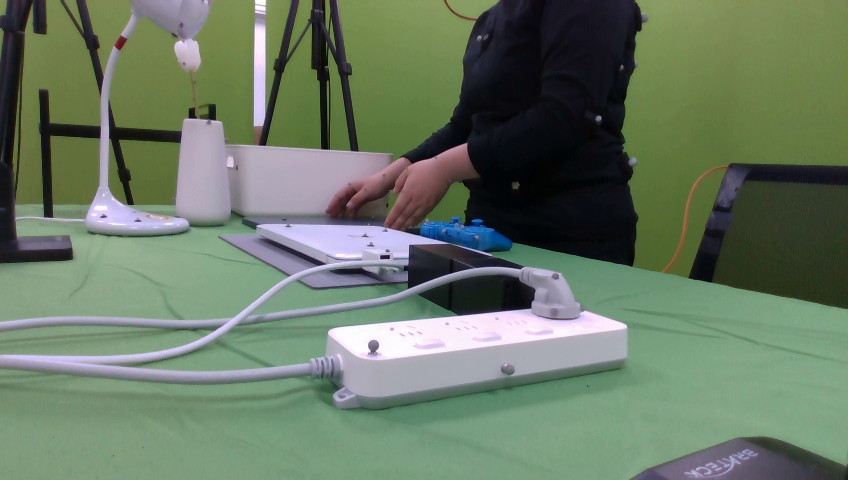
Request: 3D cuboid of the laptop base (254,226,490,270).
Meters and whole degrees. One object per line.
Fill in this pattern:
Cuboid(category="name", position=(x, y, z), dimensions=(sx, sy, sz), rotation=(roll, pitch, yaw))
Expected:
Cuboid(category="laptop base", position=(-0.095, 0.011, 0.912), dimensions=(0.237, 0.023, 0.352), rotation=(3, 6, -32))

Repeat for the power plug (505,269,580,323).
Cuboid(category="power plug", position=(0.092, 0.051, 0.470), dimensions=(0.035, 0.052, 0.072), rotation=(0, 6, -16))

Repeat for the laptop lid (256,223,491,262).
Cuboid(category="laptop lid", position=(-0.092, 0.000, 0.911), dimensions=(0.243, 0.013, 0.355), rotation=(1, 7, -30))

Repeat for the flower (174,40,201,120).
Cuboid(category="flower", position=(-0.430, -0.211, 1.165), dimensions=(0.044, 0.361, 0.038), rotation=(-10, -5, -23))

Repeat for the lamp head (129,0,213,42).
Cuboid(category="lamp head", position=(-0.423, -0.395, 0.980), dimensions=(0.123, 0.112, 0.112), rotation=(20, 7, -3))

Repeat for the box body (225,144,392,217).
Cuboid(category="box body", position=(-0.289, -0.143, 1.475), dimensions=(0.366, 0.160, 0.253), rotation=(-1, 9, -29))

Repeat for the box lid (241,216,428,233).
Cuboid(category="box lid", position=(-0.164, -0.031, 1.235), dimensions=(0.373, 0.015, 0.262), rotation=(-1, 8, -32))

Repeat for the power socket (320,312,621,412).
Cuboid(category="power socket", position=(0.038, 0.075, 0.410), dimensions=(0.228, 0.032, 0.072), rotation=(-2, 8, -29))

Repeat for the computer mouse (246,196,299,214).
Cuboid(category="computer mouse", position=(-0.355, -0.083, 1.418), dimensions=(0.117, 0.041, 0.063), rotation=(0, 10, 7))

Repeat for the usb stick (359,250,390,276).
Cuboid(category="usb stick", position=(-0.061, 0.026, 0.709), dimensions=(0.021, 0.027, 0.059), rotation=(-2, 3, -29))

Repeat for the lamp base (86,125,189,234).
Cuboid(category="lamp base", position=(-0.497, -0.105, 1.027), dimensions=(0.179, 0.180, 0.160), rotation=(1, 7, 3))

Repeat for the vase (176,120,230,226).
Cuboid(category="vase", position=(-0.425, -0.128, 1.159), dimensions=(0.098, 0.200, 0.098), rotation=(2, 9, 0))

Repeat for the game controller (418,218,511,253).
Cuboid(category="game controller", position=(0.063, -0.009, 1.028), dimensions=(0.154, 0.051, 0.097), rotation=(9, 14, 43))
